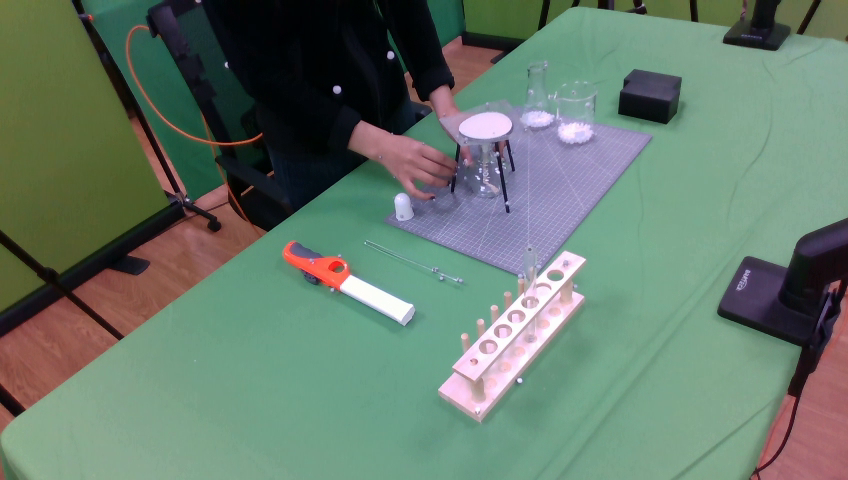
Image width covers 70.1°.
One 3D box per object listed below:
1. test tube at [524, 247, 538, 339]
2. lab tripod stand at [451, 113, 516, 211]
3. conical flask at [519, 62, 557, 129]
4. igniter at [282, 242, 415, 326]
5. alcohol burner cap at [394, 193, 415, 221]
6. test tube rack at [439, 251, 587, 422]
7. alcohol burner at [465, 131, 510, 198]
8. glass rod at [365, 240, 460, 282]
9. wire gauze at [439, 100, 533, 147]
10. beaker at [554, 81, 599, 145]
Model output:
[{"bbox_3d":[0.133,0.070,0.749,0.017,0.151,0.017,-5,38,4],"label":"test tube"},{"bbox_3d":[0.113,-0.140,1.037,0.148,0.132,0.147,-6,38,5],"label":"lab tripod stand"},{"bbox_3d":[0.225,-0.287,1.198,0.075,0.122,0.075,-6,40,5],"label":"conical flask"},{"bbox_3d":[-0.126,0.062,0.931,0.274,0.025,0.057,24,61,33],"label":"igniter"},{"bbox_3d":[-0.036,-0.059,1.040,0.034,0.048,0.033,-6,40,6],"label":"alcohol burner cap"},{"bbox_3d":[0.118,0.111,0.780,0.066,0.085,0.243,26,51,35],"label":"test tube rack"},{"bbox_3d":[0.109,-0.134,1.046,0.078,0.119,0.077,-6,38,5],"label":"alcohol burner"},{"bbox_3d":[-0.022,0.032,0.961,0.198,0.008,0.008,21,49,35],"label":"glass rod"},{"bbox_3d":[0.100,-0.190,0.994,0.125,0.011,0.120,-15,39,-7],"label":"wire gauze"},{"bbox_3d":[0.286,-0.237,1.144,0.084,0.101,0.073,-17,40,-7],"label":"beaker"}]
